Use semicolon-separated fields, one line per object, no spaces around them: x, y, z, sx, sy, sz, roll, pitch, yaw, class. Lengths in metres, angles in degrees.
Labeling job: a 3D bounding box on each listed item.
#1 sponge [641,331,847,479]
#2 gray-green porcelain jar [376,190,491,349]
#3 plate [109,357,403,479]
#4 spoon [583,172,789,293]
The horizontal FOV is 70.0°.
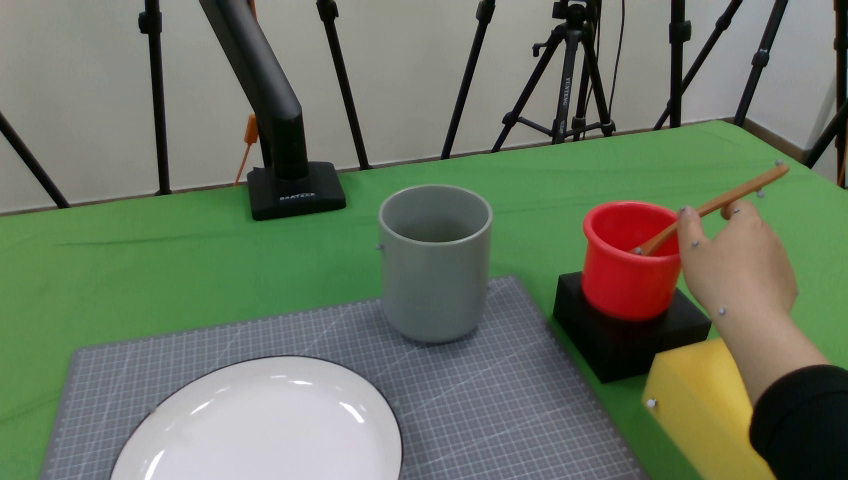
0.279;0.167;0.453;0.118;0.061;0.204;-11;36;-17;sponge
0.009;0.032;0.580;0.106;0.127;0.105;1;35;0;gray-green porcelain jar
-0.119;0.173;0.448;0.208;0.039;0.205;1;34;0;plate
0.227;-0.005;0.539;0.022;0.194;0.041;45;25;-17;spoon
